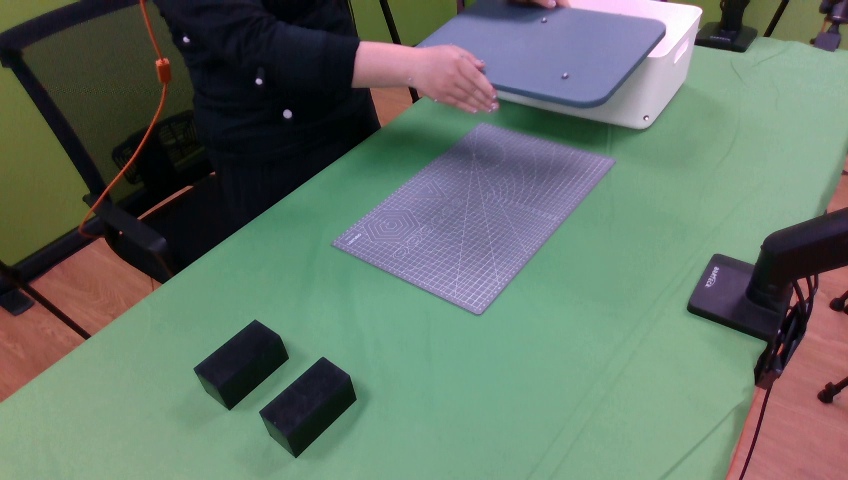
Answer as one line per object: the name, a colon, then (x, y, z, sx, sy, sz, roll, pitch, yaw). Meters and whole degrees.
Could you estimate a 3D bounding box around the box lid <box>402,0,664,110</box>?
box lid: (0.173, -0.314, 0.990, 0.368, 0.015, 0.264, 22, 53, 32)

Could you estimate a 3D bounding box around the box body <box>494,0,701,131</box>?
box body: (0.345, -0.379, 1.257, 0.361, 0.161, 0.255, 20, 48, 29)

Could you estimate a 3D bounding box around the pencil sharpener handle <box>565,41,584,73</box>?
pencil sharpener handle: (0.318, -0.391, 1.289, 0.030, 0.068, 0.036, 20, 44, 30)

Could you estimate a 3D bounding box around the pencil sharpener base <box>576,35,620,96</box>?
pencil sharpener base: (0.362, -0.368, 1.273, 0.076, 0.107, 0.061, 20, 48, 30)
